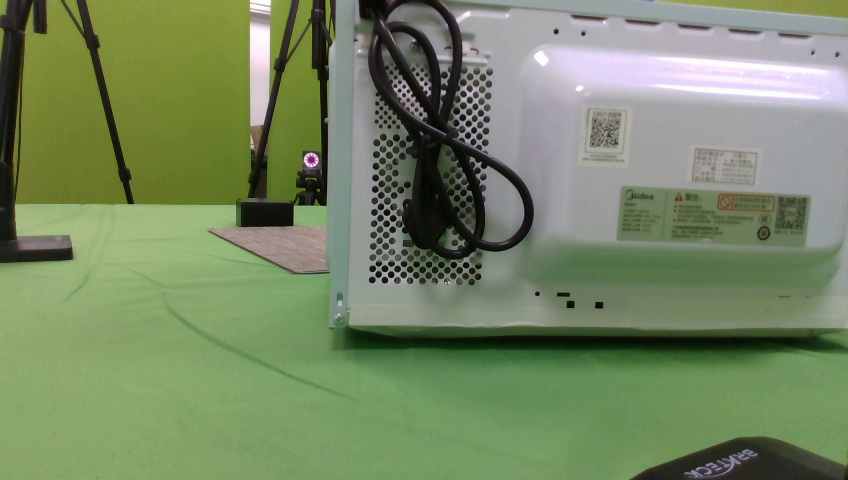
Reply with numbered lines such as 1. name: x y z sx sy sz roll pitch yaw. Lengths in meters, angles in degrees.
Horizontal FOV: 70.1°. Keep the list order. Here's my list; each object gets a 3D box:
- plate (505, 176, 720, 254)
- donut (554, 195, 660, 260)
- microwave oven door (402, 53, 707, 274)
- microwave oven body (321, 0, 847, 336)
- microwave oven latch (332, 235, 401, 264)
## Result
1. plate: 0.184 -0.027 0.615 0.209 0.038 0.209 5 17 -1
2. donut: 0.172 -0.014 0.574 0.099 0.048 0.099 -13 9 3
3. microwave oven door: 0.157 -0.085 0.717 0.357 0.243 0.039 1 8 -8
4. microwave oven body: 0.133 -0.062 0.567 0.443 0.260 0.325 2 6 -8
5. microwave oven latch: -0.066 0.011 0.700 0.079 0.029 0.030 2 6 -8
